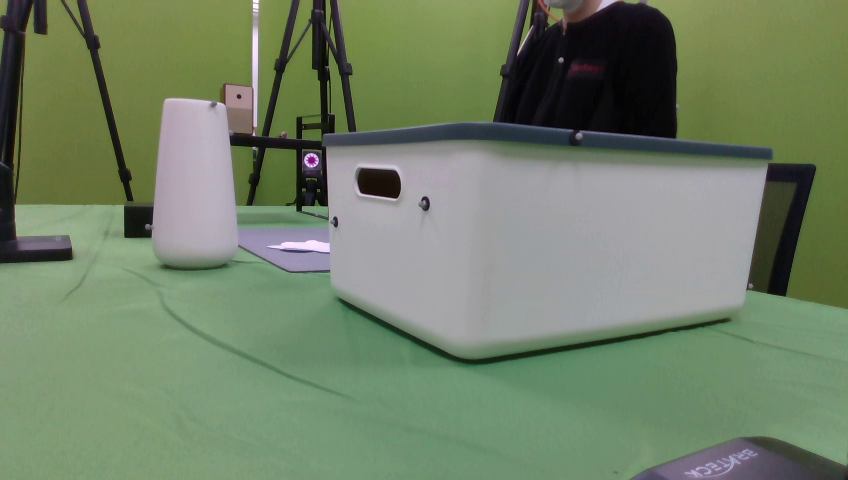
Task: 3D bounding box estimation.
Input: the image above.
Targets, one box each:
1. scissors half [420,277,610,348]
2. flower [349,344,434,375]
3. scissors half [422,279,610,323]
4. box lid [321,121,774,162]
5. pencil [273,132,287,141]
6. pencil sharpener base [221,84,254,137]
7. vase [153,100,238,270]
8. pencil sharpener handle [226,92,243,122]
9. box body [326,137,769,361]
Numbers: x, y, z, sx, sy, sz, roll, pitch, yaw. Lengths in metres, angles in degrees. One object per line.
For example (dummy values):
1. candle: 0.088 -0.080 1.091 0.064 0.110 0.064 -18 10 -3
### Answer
1. scissors half: 0.076 0.067 0.533 0.174 0.040 0.013 14 50 24
2. flower: 0.103 0.072 0.592 0.362 0.044 0.038 -17 44 -9
3. scissors half: 0.073 0.057 0.524 0.174 0.040 0.013 5 39 30
4. box lid: 0.114 -0.085 0.573 0.373 0.015 0.262 -2 7 -33
5. pencil: -0.333 -0.236 1.391 0.012 0.012 0.193 0 6 -21
6. pencil sharpener base: -0.411 -0.282 1.330 0.061 0.107 0.076 -1 8 -26
7. vase: -0.278 -0.066 0.736 0.098 0.200 0.098 2 9 0
8. pencil sharpener handle: -0.431 -0.301 1.375 0.036 0.068 0.030 -14 13 -24
9. box body: 0.112 -0.010 0.583 0.366 0.160 0.253 -2 9 -33
